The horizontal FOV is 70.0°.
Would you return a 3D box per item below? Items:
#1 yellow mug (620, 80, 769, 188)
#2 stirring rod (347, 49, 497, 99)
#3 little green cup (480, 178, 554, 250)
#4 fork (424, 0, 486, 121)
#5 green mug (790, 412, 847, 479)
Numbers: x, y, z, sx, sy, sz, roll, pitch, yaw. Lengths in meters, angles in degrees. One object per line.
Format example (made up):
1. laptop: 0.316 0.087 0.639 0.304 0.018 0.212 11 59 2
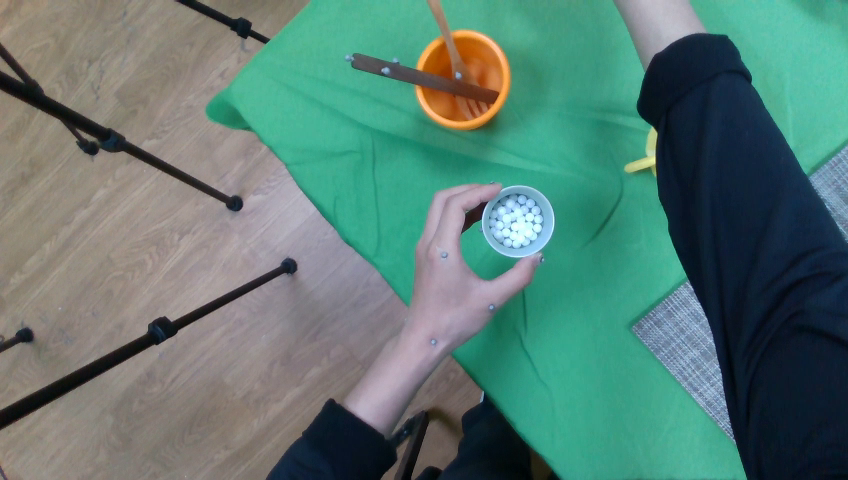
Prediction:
1. yellow mug: 0.259 -0.097 0.598 0.131 0.064 0.100 -17 93 8
2. stirring rod: 0.004 -0.158 0.582 0.177 0.005 0.014 3 97 -36
3. little green cup: 0.079 -0.022 0.525 0.061 0.038 0.061 0 94 5
4. fork: 0.016 -0.198 0.572 0.028 0.018 0.210 -27 134 5
5. green mug: 0.435 0.216 0.582 0.125 0.105 0.092 -26 90 7
